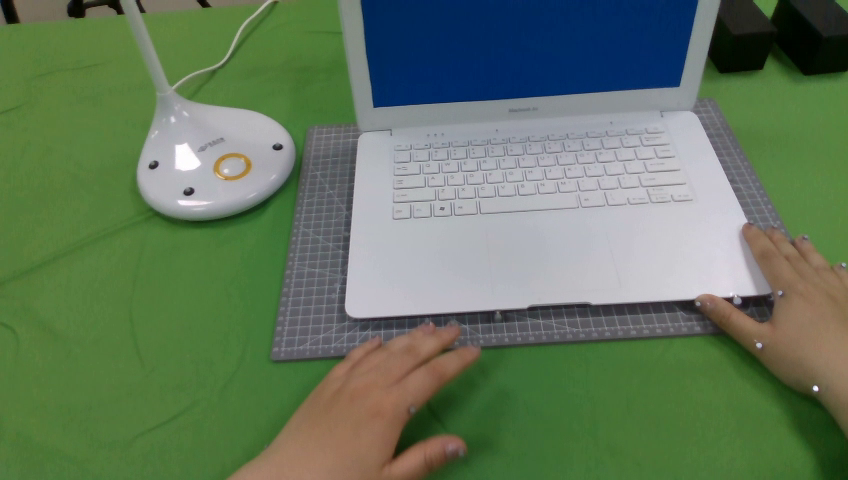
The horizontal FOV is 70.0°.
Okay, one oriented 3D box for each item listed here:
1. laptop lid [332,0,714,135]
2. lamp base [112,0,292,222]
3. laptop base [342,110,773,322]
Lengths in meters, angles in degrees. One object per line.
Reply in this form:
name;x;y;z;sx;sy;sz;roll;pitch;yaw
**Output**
laptop lid;0.093;-0.209;0.566;0.357;0.244;0.013;-5;41;2
lamp base;-0.233;-0.135;0.579;0.178;0.182;0.160;27;56;28
laptop base;0.105;-0.030;0.568;0.354;0.023;0.233;-4;52;1
